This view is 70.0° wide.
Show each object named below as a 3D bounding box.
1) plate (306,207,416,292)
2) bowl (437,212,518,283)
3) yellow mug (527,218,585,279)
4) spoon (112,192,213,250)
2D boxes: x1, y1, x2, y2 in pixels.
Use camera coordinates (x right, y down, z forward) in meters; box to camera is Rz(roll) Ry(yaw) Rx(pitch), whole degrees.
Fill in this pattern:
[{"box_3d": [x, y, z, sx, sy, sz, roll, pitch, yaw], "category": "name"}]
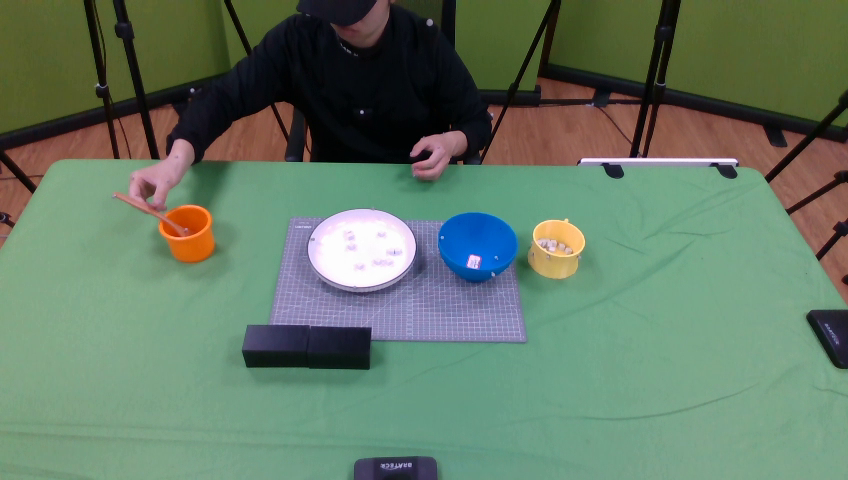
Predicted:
[{"box_3d": [-0.119, 0.021, 1.153, 0.209, 0.038, 0.208, 2, 46, -2], "category": "plate"}, {"box_3d": [0.096, 0.025, 1.138, 0.151, 0.077, 0.150, 3, 46, -2], "category": "bowl"}, {"box_3d": [0.261, 0.006, 1.181, 0.100, 0.064, 0.130, 18, 47, 14], "category": "yellow mug"}, {"box_3d": [-0.475, -0.036, 1.108, 0.021, 0.195, 0.041, -34, 35, 25], "category": "spoon"}]
